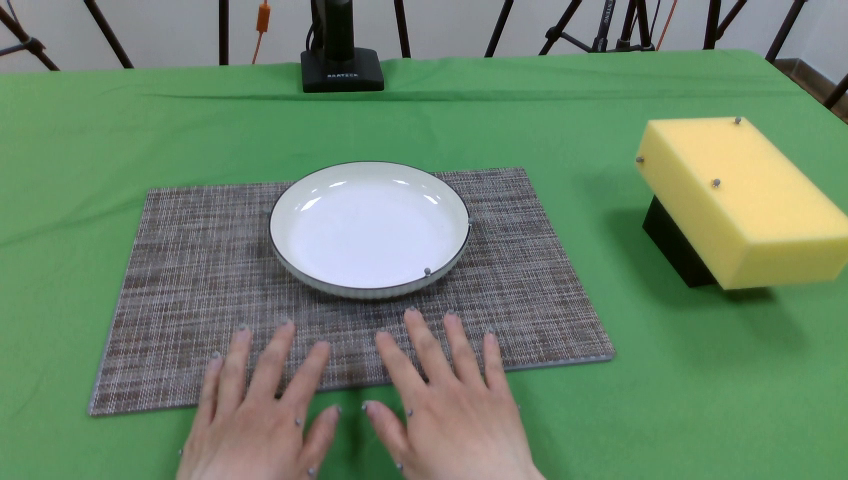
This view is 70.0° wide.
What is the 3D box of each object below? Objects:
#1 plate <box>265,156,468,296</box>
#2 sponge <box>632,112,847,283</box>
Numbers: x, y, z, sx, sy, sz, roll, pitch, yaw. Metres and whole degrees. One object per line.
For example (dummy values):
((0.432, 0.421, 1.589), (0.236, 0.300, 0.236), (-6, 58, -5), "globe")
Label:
((-0.059, -0.014, 0.636), (0.208, 0.039, 0.205), (3, 42, -2), "plate")
((0.316, -0.052, 0.622), (0.118, 0.061, 0.204), (-5, 43, -9), "sponge")
